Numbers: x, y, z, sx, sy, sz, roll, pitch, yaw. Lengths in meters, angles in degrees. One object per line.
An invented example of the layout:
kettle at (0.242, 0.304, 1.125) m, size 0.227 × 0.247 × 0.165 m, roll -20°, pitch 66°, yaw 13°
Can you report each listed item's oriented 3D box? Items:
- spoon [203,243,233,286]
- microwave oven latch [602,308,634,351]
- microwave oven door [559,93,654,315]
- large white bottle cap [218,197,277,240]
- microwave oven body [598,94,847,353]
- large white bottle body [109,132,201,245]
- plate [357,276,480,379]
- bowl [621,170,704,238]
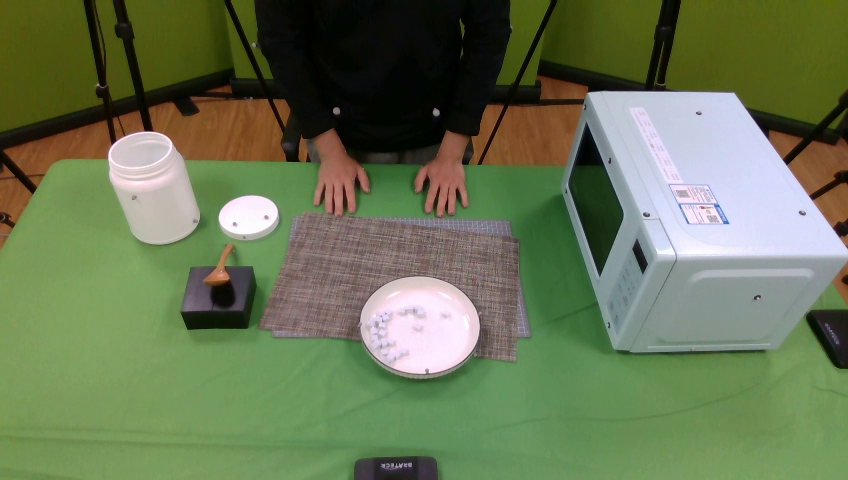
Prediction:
spoon at (-0.360, 0.039, 1.087) m, size 0.041 × 0.022 × 0.192 m, roll -5°, pitch 24°, yaw -7°
microwave oven latch at (0.332, 0.153, 1.044) m, size 0.030 × 0.029 × 0.078 m, roll -1°, pitch 45°, yaw -4°
microwave oven door at (0.327, -0.074, 1.123) m, size 0.039 × 0.245 × 0.353 m, roll -1°, pitch 46°, yaw -5°
large white bottle cap at (-0.354, -0.045, 1.220) m, size 0.115 × 0.018 × 0.114 m, roll 2°, pitch 45°, yaw -2°
microwave oven body at (0.475, -0.041, 1.109) m, size 0.326 × 0.261 × 0.438 m, roll -1°, pitch 45°, yaw -4°
large white bottle body at (-0.506, -0.097, 1.141) m, size 0.131 × 0.185 × 0.130 m, roll 2°, pitch 46°, yaw -2°
plate at (-0.009, 0.151, 1.038) m, size 0.209 × 0.038 × 0.208 m, roll 2°, pitch 47°, yaw -2°
bowl at (0.446, -0.057, 1.166) m, size 0.151 × 0.077 × 0.150 m, roll 2°, pitch 46°, yaw -2°
